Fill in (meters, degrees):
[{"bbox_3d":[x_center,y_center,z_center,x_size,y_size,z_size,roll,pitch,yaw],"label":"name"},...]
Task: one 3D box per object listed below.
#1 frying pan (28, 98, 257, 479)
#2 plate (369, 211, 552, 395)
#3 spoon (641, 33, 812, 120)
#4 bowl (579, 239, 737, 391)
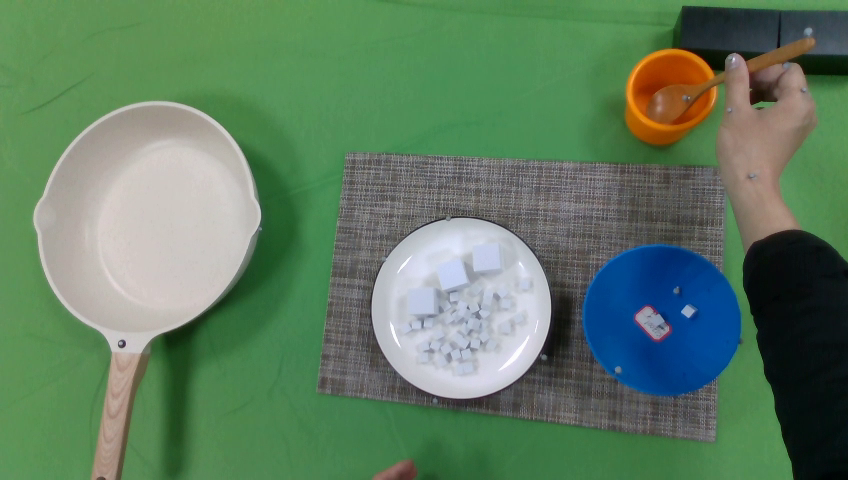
[{"bbox_3d":[-0.349,0.070,0.734,0.306,0.103,0.485,2,74,11],"label":"frying pan"},{"bbox_3d":[0.041,0.071,0.694,0.207,0.039,0.207,-2,82,10],"label":"plate"},{"bbox_3d":[0.283,-0.157,0.589,0.022,0.193,0.041,5,83,-18],"label":"spoon"},{"bbox_3d":[0.237,0.079,0.637,0.151,0.077,0.151,-1,82,10],"label":"bowl"}]
